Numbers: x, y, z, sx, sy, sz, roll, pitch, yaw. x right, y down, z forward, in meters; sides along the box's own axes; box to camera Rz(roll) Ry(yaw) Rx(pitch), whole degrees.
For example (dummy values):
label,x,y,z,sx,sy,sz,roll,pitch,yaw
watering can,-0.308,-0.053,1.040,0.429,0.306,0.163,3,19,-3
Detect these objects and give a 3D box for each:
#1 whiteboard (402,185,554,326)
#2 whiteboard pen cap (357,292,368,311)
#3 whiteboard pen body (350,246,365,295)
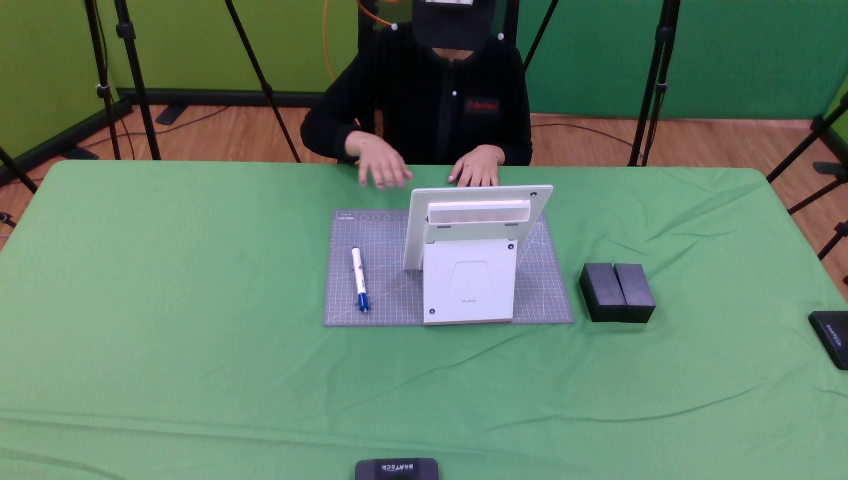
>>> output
label,x,y,z,sx,sy,sz,roll,pitch,yaw
whiteboard,0.081,0.044,1.005,0.217,0.306,0.143,-1,66,-6
whiteboard pen cap,-0.110,0.110,1.083,0.018,0.018,0.033,-6,48,-9
whiteboard pen body,-0.121,0.066,1.121,0.017,0.017,0.140,-6,49,-9
